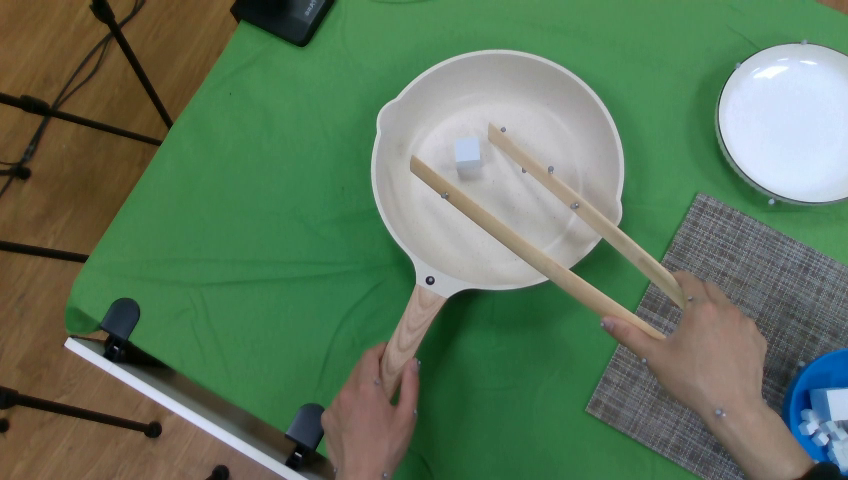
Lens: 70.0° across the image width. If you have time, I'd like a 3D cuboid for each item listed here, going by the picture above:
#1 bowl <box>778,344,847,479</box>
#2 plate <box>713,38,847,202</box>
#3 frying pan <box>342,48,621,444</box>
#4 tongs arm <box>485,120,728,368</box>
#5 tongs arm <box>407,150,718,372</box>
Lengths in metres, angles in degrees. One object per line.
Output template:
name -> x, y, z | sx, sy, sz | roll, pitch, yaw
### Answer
bowl -> 0.444, 0.187, 0.645 | 0.151, 0.077, 0.150 | -1, 79, 3
plate -> 0.455, -0.143, 0.738 | 0.207, 0.039, 0.206 | -1, 78, 3
frying pan -> 0.033, 0.004, 0.697 | 0.306, 0.103, 0.486 | 27, 73, 9
tongs arm -> 0.166, -0.018, 0.645 | 0.051, 0.027, 0.380 | -23, 51, -26
tongs arm -> 0.113, 0.007, 0.616 | 0.028, 0.028, 0.384 | -28, 53, -34
